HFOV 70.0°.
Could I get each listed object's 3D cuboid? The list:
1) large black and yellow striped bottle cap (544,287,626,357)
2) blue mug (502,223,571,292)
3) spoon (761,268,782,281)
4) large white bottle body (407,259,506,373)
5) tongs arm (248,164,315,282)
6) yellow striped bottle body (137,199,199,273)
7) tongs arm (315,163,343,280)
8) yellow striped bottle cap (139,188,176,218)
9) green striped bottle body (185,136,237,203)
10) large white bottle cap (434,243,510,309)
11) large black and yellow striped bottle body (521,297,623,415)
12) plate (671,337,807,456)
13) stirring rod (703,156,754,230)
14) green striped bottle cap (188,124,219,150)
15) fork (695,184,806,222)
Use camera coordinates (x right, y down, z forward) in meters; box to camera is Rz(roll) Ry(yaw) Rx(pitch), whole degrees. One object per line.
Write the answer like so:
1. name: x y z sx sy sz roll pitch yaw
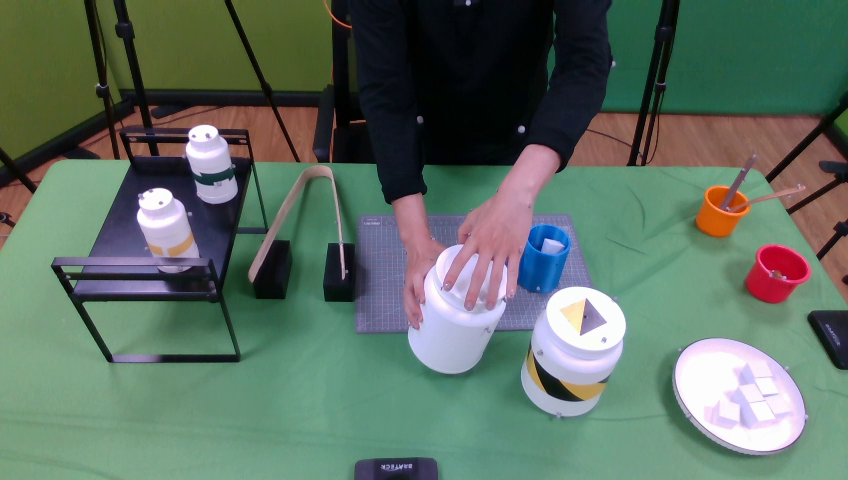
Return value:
1. large black and yellow striped bottle cap: 0.232 0.116 0.876 0.115 0.019 0.114 2 46 -2
2. blue mug: 0.203 0.031 1.121 0.116 0.106 0.082 5 47 1
3. spoon: 0.638 0.060 1.105 0.041 0.021 0.194 38 11 24
4. large white bottle body: 0.052 0.109 0.952 0.131 0.185 0.130 8 46 -9
5. tongs arm: -0.269 -0.047 1.166 0.028 0.028 0.385 -1 34 7
6. yellow striped bottle body: -0.366 -0.014 0.863 0.063 0.121 0.062 2 46 -2
7. tongs arm: -0.188 -0.049 1.170 0.051 0.026 0.382 -6 35 -6
8. yellow striped bottle cap: -0.363 -0.051 0.826 0.044 0.019 0.044 1 47 -1
9. green striped bottle body: -0.341 -0.122 0.968 0.063 0.120 0.063 2 46 -2
10. large white bottle cap: 0.071 0.052 0.892 0.115 0.018 0.114 9 45 -9
11. large black and yellow striped bottle body: 0.228 0.173 0.937 0.131 0.185 0.130 2 47 -2
12. plate: 0.504 0.254 0.984 0.208 0.039 0.206 2 46 -2
13. stirring rod: 0.632 -0.098 1.258 0.014 0.006 0.176 33 95 28
14. green striped bottle cap: -0.339 -0.158 0.931 0.044 0.020 0.044 4 45 -4
15. fork: 0.657 -0.075 1.230 0.207 0.019 0.028 -23 34 37
